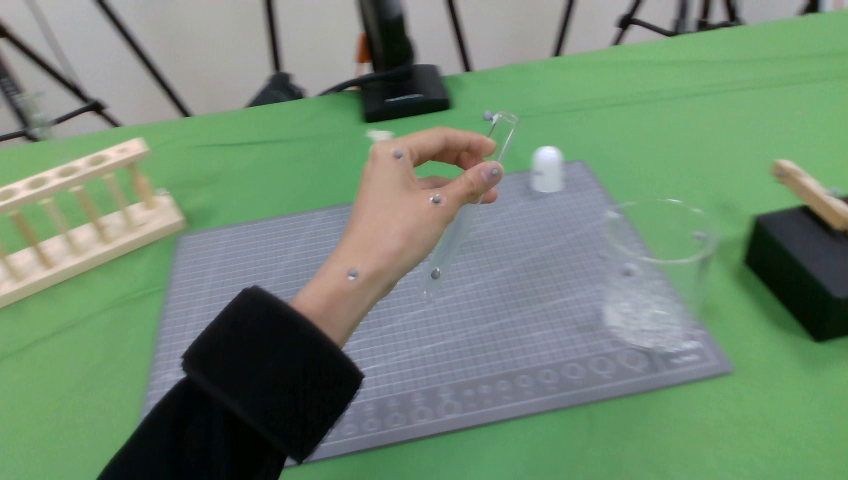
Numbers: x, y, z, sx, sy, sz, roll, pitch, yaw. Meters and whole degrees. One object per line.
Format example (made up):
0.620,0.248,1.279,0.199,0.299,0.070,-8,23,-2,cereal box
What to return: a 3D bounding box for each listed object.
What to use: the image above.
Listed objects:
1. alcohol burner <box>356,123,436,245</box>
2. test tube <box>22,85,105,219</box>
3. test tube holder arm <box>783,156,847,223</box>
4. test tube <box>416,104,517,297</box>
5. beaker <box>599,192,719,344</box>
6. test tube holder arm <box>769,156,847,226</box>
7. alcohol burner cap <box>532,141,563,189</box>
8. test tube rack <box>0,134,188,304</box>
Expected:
-0.029,-0.055,0.573,0.078,0.120,0.077,-6,40,5,alcohol burner
-0.355,-0.081,0.603,0.017,0.151,0.017,-4,38,3,test tube
0.337,-0.015,0.473,0.013,0.015,0.176,-7,40,-12,test tube holder arm
0.025,-0.021,0.405,0.017,0.151,0.017,18,30,-10,test tube
0.171,0.024,0.463,0.074,0.101,0.083,-31,45,-24,beaker
0.321,-0.042,0.506,0.010,0.015,0.087,-6,40,-12,test tube holder arm
0.130,-0.081,0.633,0.034,0.048,0.033,-4,41,4,alcohol burner cap
-0.377,-0.014,0.606,0.242,0.086,0.066,-27,45,-21,test tube rack
